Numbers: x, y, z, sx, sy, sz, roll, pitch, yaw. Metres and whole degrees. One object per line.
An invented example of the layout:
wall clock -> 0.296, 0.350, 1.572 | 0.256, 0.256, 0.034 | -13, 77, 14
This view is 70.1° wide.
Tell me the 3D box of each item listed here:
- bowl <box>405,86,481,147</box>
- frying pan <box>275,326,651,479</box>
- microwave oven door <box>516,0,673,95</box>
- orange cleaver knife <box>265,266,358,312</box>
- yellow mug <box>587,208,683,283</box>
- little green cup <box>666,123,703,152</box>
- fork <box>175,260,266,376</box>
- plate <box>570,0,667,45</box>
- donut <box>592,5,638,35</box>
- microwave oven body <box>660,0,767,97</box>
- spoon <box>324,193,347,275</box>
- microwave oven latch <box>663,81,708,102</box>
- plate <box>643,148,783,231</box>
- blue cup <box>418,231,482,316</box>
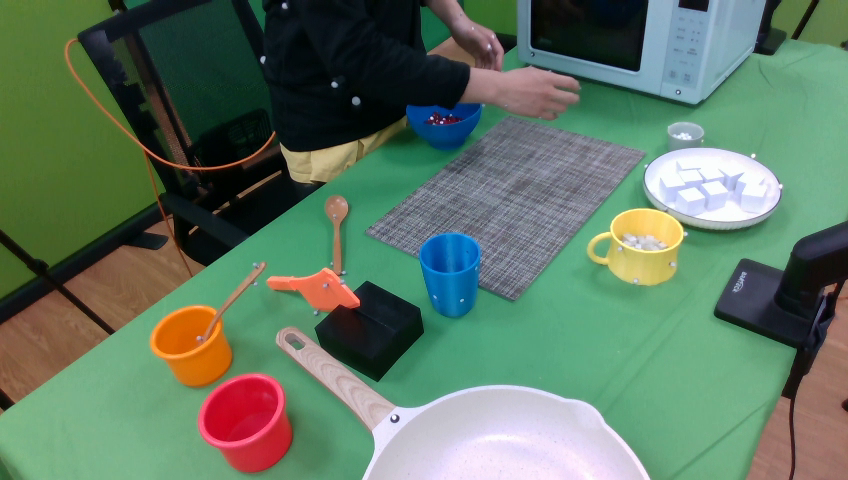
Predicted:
bowl -> 0.041, -0.236, 1.197 | 0.151, 0.077, 0.150 | -4, 40, 4
frying pan -> 0.004, 0.229, 0.641 | 0.484, 0.103, 0.308 | 34, 54, 28
microwave oven door -> 0.344, -0.458, 1.256 | 0.353, 0.245, 0.039 | 26, 51, 33
orange cleaver knife -> -0.164, 0.073, 0.864 | 0.210, 0.077, 0.012 | -6, 31, 50
yellow mug -> 0.305, 0.009, 0.884 | 0.131, 0.064, 0.099 | -4, 41, 5
little green cup -> 0.472, -0.183, 1.102 | 0.061, 0.039, 0.061 | -5, 39, 4
fork -> -0.268, 0.103, 0.792 | 0.207, 0.019, 0.028 | -51, 41, 16
plate -> 0.436, -0.491, 1.368 | 0.209, 0.038, 0.208 | -6, 40, 5
donut -> 0.427, -0.492, 1.350 | 0.099, 0.048, 0.098 | -8, 39, 7
microwave oven body -> 0.473, -0.516, 1.313 | 0.438, 0.261, 0.327 | 26, 51, 34
spoon -> -0.148, -0.014, 1.008 | 0.042, 0.022, 0.192 | 0, 40, -8
microwave oven latch -> 0.518, -0.299, 1.202 | 0.078, 0.029, 0.030 | 30, 54, 36
plate -> 0.464, -0.080, 0.986 | 0.207, 0.039, 0.206 | -4, 41, 4
blue cup -> 0.040, 0.053, 0.843 | 0.092, 0.100, 0.092 | -4, 43, 4
